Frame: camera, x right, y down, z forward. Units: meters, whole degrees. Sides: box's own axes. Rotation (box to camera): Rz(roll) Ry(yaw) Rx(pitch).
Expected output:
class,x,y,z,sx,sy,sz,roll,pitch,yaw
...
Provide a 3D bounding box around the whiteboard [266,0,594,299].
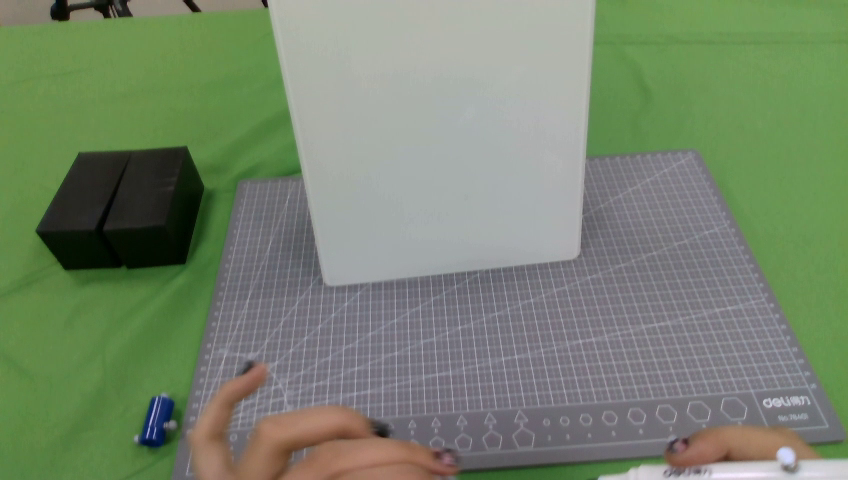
class,x,y,z,sx,sy,sz,roll,pitch,yaw
whiteboard,0.007,-0.128,0.489,0.217,0.308,0.142,-6,29,-1

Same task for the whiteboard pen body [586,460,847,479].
class,x,y,z,sx,sy,sz,roll,pitch,yaw
whiteboard pen body,0.128,0.095,0.236,0.140,0.017,0.017,-15,40,33

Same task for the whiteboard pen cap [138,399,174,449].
class,x,y,z,sx,sy,sz,roll,pitch,yaw
whiteboard pen cap,-0.188,0.130,0.424,0.018,0.018,0.033,-2,50,1
